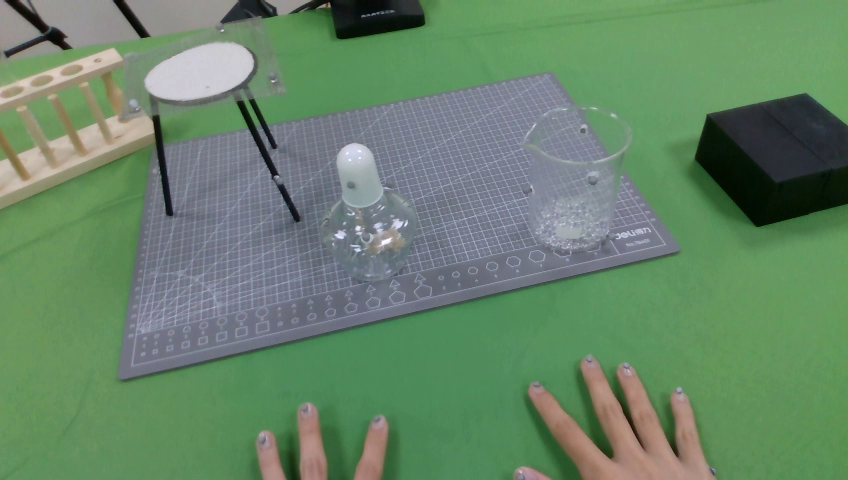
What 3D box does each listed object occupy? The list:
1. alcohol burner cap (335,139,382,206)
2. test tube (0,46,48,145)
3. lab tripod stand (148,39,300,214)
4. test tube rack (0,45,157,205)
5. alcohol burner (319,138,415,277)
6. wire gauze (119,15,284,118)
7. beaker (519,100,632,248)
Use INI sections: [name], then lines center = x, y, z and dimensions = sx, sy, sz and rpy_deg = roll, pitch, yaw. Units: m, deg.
[alcohol burner cap]
center = -0.051, -0.052, 0.449
dimensions = 0.034, 0.048, 0.033
rpy_deg = -4, 48, 4
[test tube]
center = -0.406, -0.158, 0.590
dimensions = 0.017, 0.151, 0.017
rpy_deg = -1, 42, 2
[lab tripod stand]
center = -0.178, -0.095, 0.539
dimensions = 0.148, 0.133, 0.147
rpy_deg = -3, 48, 4
[test tube rack]
center = -0.405, -0.104, 0.607
dimensions = 0.242, 0.086, 0.066
rpy_deg = -30, 51, -22
[alcohol burner]
center = -0.047, -0.028, 0.475
dimensions = 0.078, 0.120, 0.077
rpy_deg = -3, 44, 3
[wire gauze]
center = -0.184, -0.141, 0.490
dimensions = 0.125, 0.011, 0.120
rpy_deg = -17, 47, -9
[beaker]
center = 0.118, -0.049, 0.489
dimensions = 0.084, 0.101, 0.073
rpy_deg = -4, 46, 4
